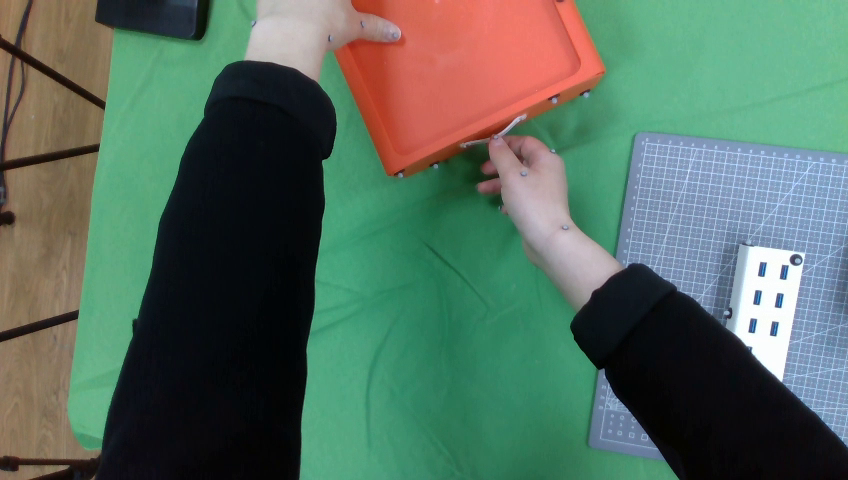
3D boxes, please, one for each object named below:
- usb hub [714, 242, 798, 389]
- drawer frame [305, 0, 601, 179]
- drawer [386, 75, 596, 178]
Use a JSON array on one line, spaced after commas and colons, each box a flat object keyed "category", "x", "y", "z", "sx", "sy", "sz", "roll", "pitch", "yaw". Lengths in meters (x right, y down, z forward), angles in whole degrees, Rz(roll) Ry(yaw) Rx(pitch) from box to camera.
[{"category": "usb hub", "x": 0.295, "y": 0.067, "z": 0.539, "sx": 0.049, "sy": 0.025, "sz": 0.125, "roll": 7, "pitch": 95, "yaw": 7}, {"category": "drawer frame", "x": 0.016, "y": -0.190, "z": 0.533, "sx": 0.201, "sy": 0.083, "sz": 0.213, "roll": -25, "pitch": 89, "yaw": 9}, {"category": "drawer", "x": 0.018, "y": -0.188, "z": 0.537, "sx": 0.194, "sy": 0.073, "sz": 0.211, "roll": -25, "pitch": 89, "yaw": 10}]
